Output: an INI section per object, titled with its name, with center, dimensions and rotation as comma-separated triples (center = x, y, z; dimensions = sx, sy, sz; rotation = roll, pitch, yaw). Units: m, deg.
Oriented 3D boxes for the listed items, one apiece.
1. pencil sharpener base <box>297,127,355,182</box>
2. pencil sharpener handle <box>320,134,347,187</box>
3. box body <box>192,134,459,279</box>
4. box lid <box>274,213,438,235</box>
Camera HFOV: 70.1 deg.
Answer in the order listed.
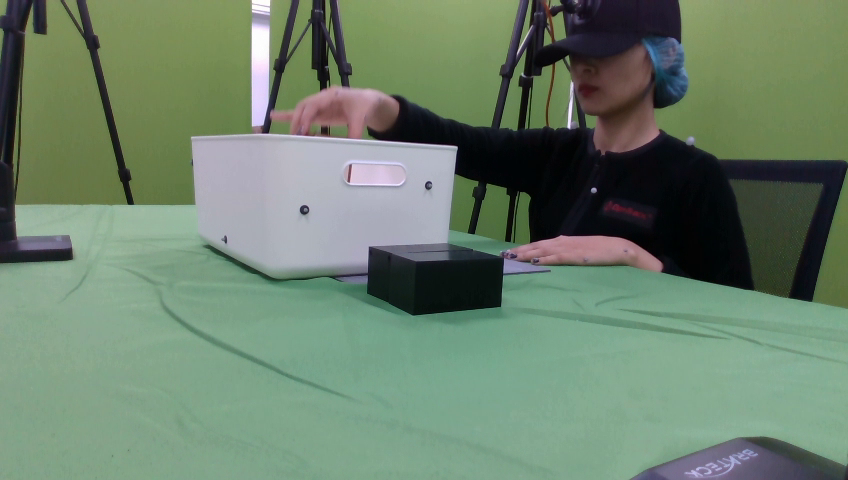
[pencil sharpener base]
center = -0.138, -0.096, 0.818
dimensions = 0.061, 0.107, 0.076
rotation = 5, 6, -28
[pencil sharpener handle]
center = -0.113, -0.101, 0.772
dimensions = 0.036, 0.067, 0.030
rotation = 8, 5, -28
[box body]
center = -0.154, -0.059, 0.840
dimensions = 0.255, 0.160, 0.362
rotation = -2, 9, -33
[box lid]
center = -0.156, -0.037, 1.283
dimensions = 0.264, 0.015, 0.370
rotation = -1, 7, -25
